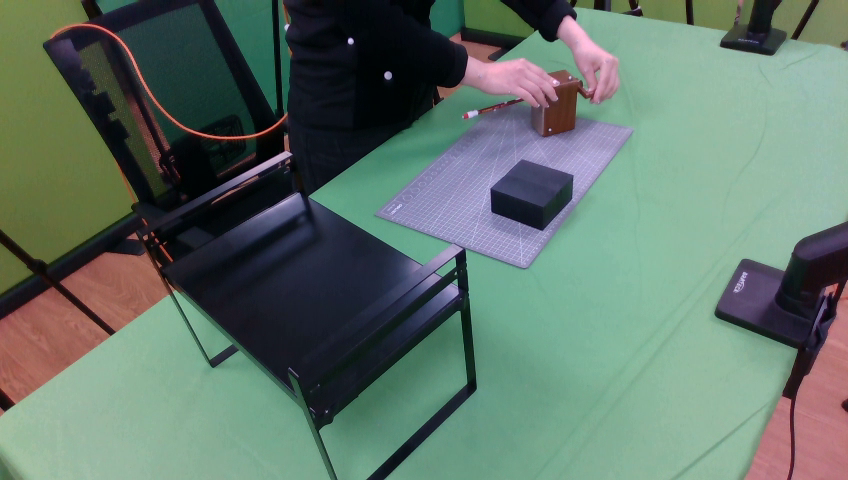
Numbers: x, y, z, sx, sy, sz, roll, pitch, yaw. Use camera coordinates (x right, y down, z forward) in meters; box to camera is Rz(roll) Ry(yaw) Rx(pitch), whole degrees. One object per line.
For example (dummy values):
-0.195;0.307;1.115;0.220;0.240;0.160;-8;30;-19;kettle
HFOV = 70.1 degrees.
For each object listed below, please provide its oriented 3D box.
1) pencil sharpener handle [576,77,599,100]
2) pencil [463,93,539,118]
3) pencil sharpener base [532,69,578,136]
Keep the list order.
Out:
0.307;-0.291;1.159;0.031;0.036;0.067;-15;50;-8;pencil sharpener handle
0.166;-0.262;1.150;0.194;0.012;0.012;-16;41;-7;pencil
0.256;-0.268;1.179;0.077;0.107;0.061;-15;41;-8;pencil sharpener base
